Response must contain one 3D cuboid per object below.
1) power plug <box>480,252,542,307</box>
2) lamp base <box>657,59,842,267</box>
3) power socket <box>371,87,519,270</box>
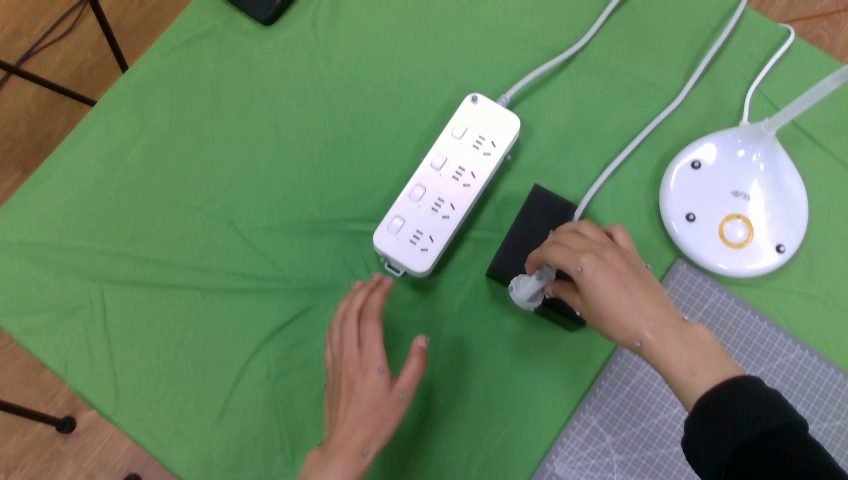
[{"bbox_3d":[0.078,0.036,0.573,0.073,0.035,0.053,25,122,-4],"label":"power plug"},{"bbox_3d":[0.334,-0.080,0.587,0.160,0.181,0.178,7,74,2],"label":"lamp base"},{"bbox_3d":[0.024,-0.069,0.658,0.072,0.033,0.226,32,78,6],"label":"power socket"}]
